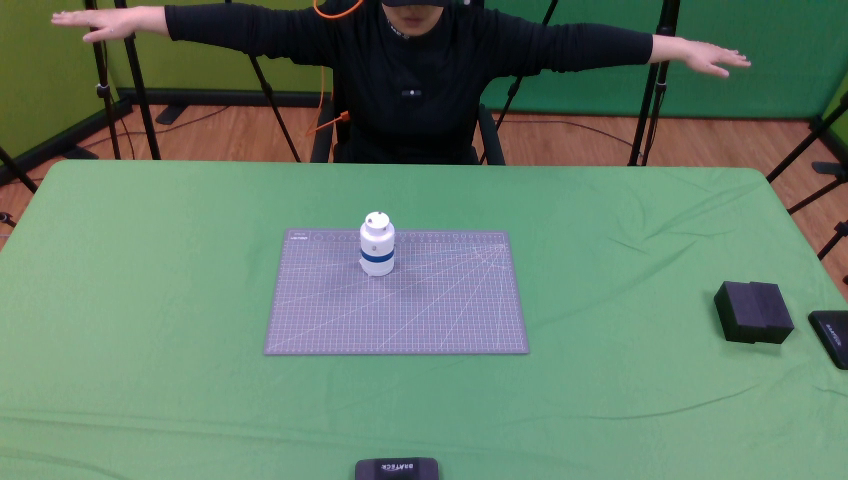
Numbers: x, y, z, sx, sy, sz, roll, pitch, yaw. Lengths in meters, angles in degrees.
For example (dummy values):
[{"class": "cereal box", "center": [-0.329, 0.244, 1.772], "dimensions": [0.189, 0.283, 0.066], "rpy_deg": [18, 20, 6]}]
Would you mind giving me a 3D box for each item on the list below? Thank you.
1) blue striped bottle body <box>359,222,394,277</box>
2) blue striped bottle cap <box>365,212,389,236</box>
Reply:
[{"class": "blue striped bottle body", "center": [-0.087, 0.006, 1.113], "dimensions": [0.063, 0.121, 0.062], "rpy_deg": [2, 46, -2]}, {"class": "blue striped bottle cap", "center": [-0.084, -0.029, 1.077], "dimensions": [0.044, 0.021, 0.044], "rpy_deg": [1, 46, -1]}]
